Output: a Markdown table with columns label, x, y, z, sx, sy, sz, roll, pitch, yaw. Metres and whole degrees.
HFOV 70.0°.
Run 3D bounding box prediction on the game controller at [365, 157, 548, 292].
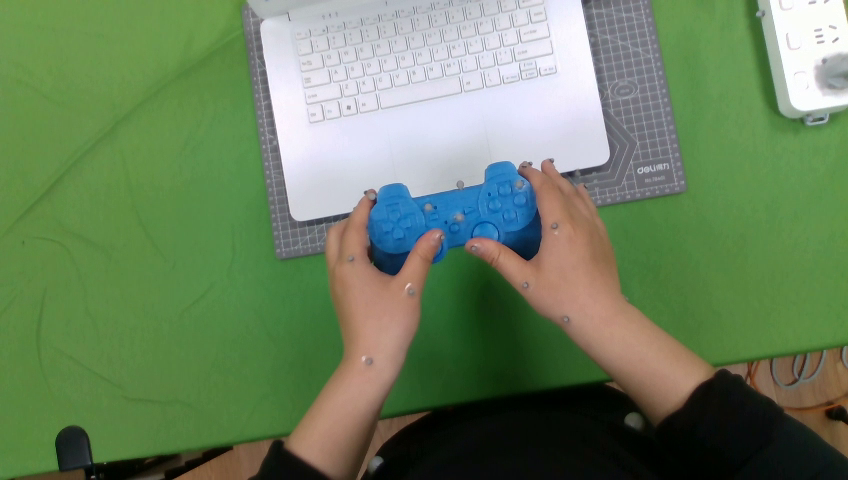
| label | x | y | z | sx | sy | sz | roll | pitch | yaw |
| --- | --- | --- | --- | --- | --- | --- | --- | --- | --- |
| game controller | 0.025 | -0.012 | 0.516 | 0.155 | 0.051 | 0.097 | -11 | 95 | 3 |

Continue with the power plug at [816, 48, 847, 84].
| label | x | y | z | sx | sy | sz | roll | pitch | yaw |
| --- | --- | --- | --- | --- | --- | --- | --- | --- | --- |
| power plug | 0.423 | -0.170 | 0.592 | 0.072 | 0.053 | 0.035 | 3 | 86 | 3 |

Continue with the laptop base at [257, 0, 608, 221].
| label | x | y | z | sx | sy | sz | roll | pitch | yaw |
| --- | --- | --- | --- | --- | --- | --- | --- | --- | --- |
| laptop base | 0.003 | -0.166 | 0.665 | 0.354 | 0.023 | 0.235 | -11 | 88 | 5 |

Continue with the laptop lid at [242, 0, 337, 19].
| label | x | y | z | sx | sy | sz | roll | pitch | yaw |
| --- | --- | --- | --- | --- | --- | --- | --- | --- | --- |
| laptop lid | -0.035 | -0.308 | 0.559 | 0.356 | 0.243 | 0.013 | -11 | 76 | 7 |

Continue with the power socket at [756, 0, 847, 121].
| label | x | y | z | sx | sy | sz | roll | pitch | yaw |
| --- | --- | --- | --- | --- | --- | --- | --- | --- | --- |
| power socket | 0.385 | -0.237 | 0.620 | 0.072 | 0.032 | 0.226 | -9 | 85 | 7 |
